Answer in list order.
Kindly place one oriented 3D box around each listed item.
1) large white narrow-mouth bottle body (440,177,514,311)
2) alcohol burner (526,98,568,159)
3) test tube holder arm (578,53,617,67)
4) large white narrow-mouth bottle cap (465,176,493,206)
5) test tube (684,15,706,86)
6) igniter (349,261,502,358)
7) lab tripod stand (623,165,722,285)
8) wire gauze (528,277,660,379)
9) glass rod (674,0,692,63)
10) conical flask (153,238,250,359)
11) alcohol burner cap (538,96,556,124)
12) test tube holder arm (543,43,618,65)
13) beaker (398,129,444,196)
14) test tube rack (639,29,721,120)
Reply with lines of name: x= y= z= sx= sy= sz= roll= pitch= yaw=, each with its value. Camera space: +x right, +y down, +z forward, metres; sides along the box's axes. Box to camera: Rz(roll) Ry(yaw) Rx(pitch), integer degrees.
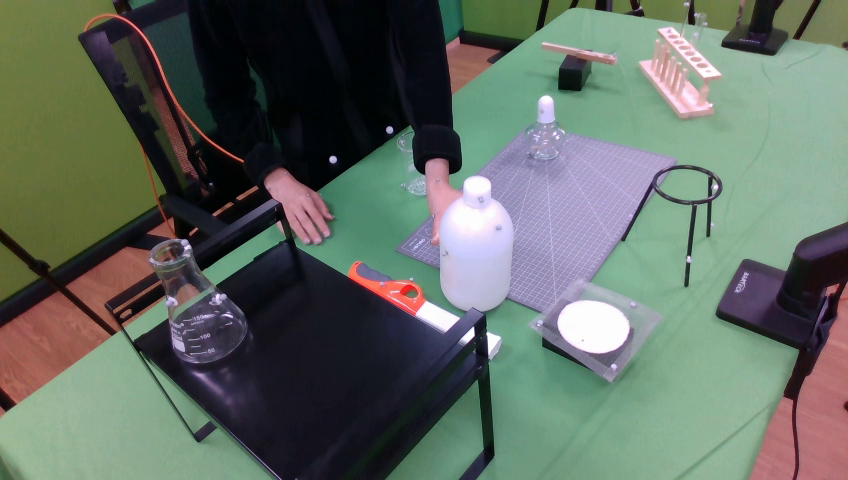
large white narrow-mouth bottle body: x=0.072 y=0.001 z=0.823 sx=0.102 sy=0.195 sz=0.101 roll=-1 pitch=42 yaw=1
alcohol burner: x=0.228 y=-0.210 z=1.118 sx=0.078 sy=0.119 sz=0.077 roll=-5 pitch=43 yaw=5
test tube holder arm: x=0.376 y=-0.393 z=1.314 sx=0.087 sy=0.015 sz=0.010 roll=26 pitch=51 yaw=32
large white narrow-mouth bottle cap: x=0.069 y=-0.062 z=0.764 sx=0.038 sy=0.024 sz=0.037 roll=-1 pitch=42 yaw=1
test tube: x=0.541 y=-0.378 z=1.215 sx=0.017 sy=0.151 sz=0.017 roll=-2 pitch=44 yaw=3
igniter: x=-0.009 y=0.094 z=0.870 sx=0.274 sy=0.025 sz=0.057 roll=25 pitch=60 yaw=32
lab tripod stand: x=0.365 y=-0.030 z=0.874 sx=0.148 sy=0.132 sz=0.147 roll=-6 pitch=41 yaw=6
wire gauze: x=0.213 y=0.103 z=0.763 sx=0.124 sy=0.011 sz=0.122 roll=30 pitch=52 yaw=35
glass rod: x=0.537 y=-0.436 z=1.257 sx=0.008 sy=0.200 sz=0.008 roll=0 pitch=39 yaw=1
conical flask: x=-0.225 y=0.055 z=0.597 sx=0.075 sy=0.122 sz=0.075 roll=-5 pitch=41 yaw=5
alcohol burner cap: x=0.222 y=-0.237 z=1.095 sx=0.034 sy=0.048 sz=0.033 roll=-6 pitch=35 yaw=5
test tube holder arm: x=0.344 y=-0.413 z=1.340 sx=0.177 sy=0.015 sz=0.013 roll=25 pitch=51 yaw=31
beaker: x=-0.001 y=-0.139 z=1.087 sx=0.073 sy=0.101 sz=0.084 roll=28 pitch=51 yaw=35
test tube rack: x=0.527 y=-0.351 z=1.262 sx=0.067 sy=0.085 sz=0.241 roll=-8 pitch=40 yaw=1
